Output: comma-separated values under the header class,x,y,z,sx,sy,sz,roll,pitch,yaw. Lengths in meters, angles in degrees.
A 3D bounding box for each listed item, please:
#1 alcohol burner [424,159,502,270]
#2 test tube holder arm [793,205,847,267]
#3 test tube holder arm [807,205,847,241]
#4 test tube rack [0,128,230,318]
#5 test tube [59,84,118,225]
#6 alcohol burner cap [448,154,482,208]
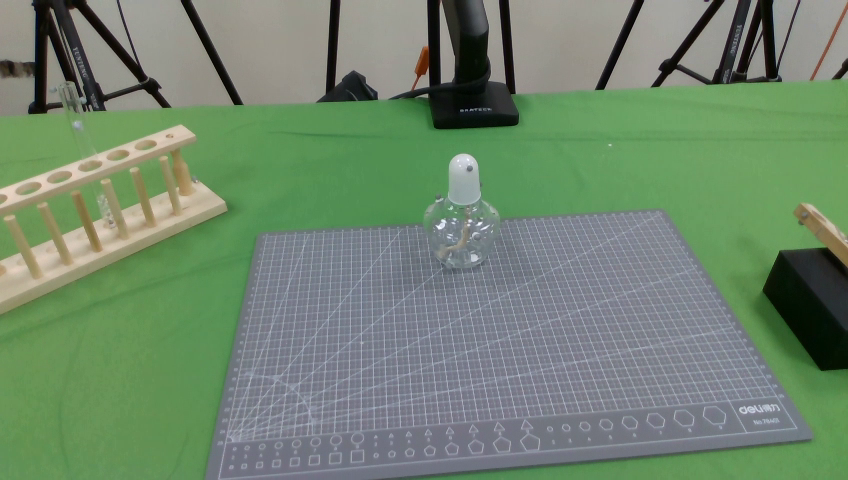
class,x,y,z,sx,sy,sz,roll,pitch,yaw
alcohol burner,0.038,-0.029,0.589,0.078,0.120,0.077,1,40,0
test tube holder arm,0.369,-0.002,0.552,0.010,0.015,0.087,-1,39,-11
test tube holder arm,0.382,0.025,0.519,0.013,0.015,0.176,-1,39,-12
test tube rack,-0.331,-0.026,0.616,0.242,0.086,0.066,-31,47,-32
test tube,-0.331,-0.081,0.605,0.017,0.151,0.017,-1,33,1
alcohol burner cap,0.039,-0.058,0.566,0.034,0.048,0.033,-2,43,2
